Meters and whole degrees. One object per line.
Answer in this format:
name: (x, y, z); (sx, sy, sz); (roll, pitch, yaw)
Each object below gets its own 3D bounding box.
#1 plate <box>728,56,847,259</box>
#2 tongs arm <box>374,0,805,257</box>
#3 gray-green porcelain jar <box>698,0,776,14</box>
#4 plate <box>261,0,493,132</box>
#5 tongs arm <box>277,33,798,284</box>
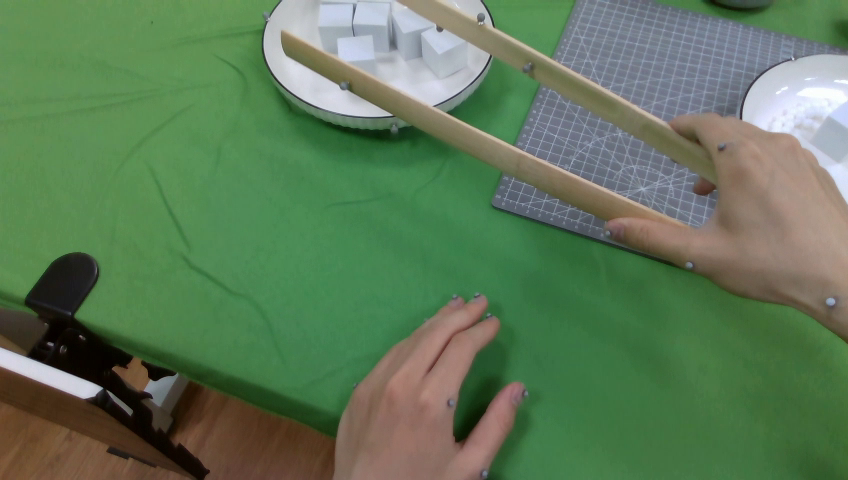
plate: (0.348, -0.063, 0.486); (0.209, 0.038, 0.207); (0, 58, 0)
tongs arm: (0.085, -0.102, 0.436); (0.382, 0.027, 0.050); (34, 63, 21)
gray-green porcelain jar: (0.317, -0.296, 0.584); (0.106, 0.127, 0.105); (0, 57, 0)
plate: (-0.041, -0.174, 0.557); (0.208, 0.039, 0.205); (0, 58, 0)
tongs arm: (0.049, -0.064, 0.413); (0.385, 0.028, 0.028); (29, 57, 18)
